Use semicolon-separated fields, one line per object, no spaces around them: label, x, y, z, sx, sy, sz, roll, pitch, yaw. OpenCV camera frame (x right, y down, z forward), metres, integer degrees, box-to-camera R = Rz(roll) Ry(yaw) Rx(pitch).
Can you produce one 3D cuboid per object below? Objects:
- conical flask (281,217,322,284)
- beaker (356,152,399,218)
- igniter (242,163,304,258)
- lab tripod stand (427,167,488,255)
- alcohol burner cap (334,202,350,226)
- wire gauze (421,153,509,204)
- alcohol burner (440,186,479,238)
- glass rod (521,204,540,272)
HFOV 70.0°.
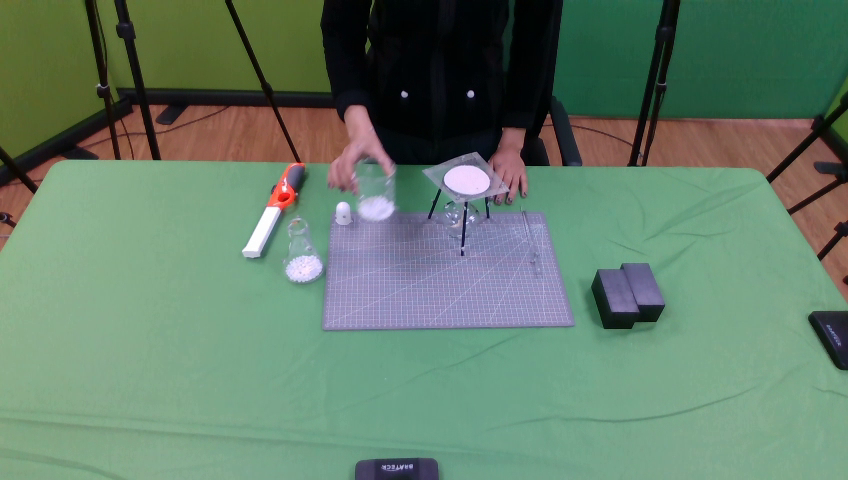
conical flask;-0.226;0.016;1.097;0.075;0.122;0.075;3;46;-2
beaker;-0.085;-0.096;1.093;0.084;0.101;0.073;-27;47;-31
igniter;-0.305;-0.069;1.239;0.057;0.025;0.275;2;45;12
lab tripod stand;0.076;-0.068;1.191;0.148;0.132;0.147;3;44;-2
alcohol burner cap;-0.166;-0.055;1.223;0.034;0.048;0.033;2;46;-2
wire gauze;0.077;-0.116;1.143;0.125;0.011;0.120;-19;49;-23
alcohol burner;0.072;-0.061;1.198;0.078;0.119;0.077;3;47;-3
glass rod;0.215;-0.008;1.230;0.008;0.008;0.198;0;43;-3
